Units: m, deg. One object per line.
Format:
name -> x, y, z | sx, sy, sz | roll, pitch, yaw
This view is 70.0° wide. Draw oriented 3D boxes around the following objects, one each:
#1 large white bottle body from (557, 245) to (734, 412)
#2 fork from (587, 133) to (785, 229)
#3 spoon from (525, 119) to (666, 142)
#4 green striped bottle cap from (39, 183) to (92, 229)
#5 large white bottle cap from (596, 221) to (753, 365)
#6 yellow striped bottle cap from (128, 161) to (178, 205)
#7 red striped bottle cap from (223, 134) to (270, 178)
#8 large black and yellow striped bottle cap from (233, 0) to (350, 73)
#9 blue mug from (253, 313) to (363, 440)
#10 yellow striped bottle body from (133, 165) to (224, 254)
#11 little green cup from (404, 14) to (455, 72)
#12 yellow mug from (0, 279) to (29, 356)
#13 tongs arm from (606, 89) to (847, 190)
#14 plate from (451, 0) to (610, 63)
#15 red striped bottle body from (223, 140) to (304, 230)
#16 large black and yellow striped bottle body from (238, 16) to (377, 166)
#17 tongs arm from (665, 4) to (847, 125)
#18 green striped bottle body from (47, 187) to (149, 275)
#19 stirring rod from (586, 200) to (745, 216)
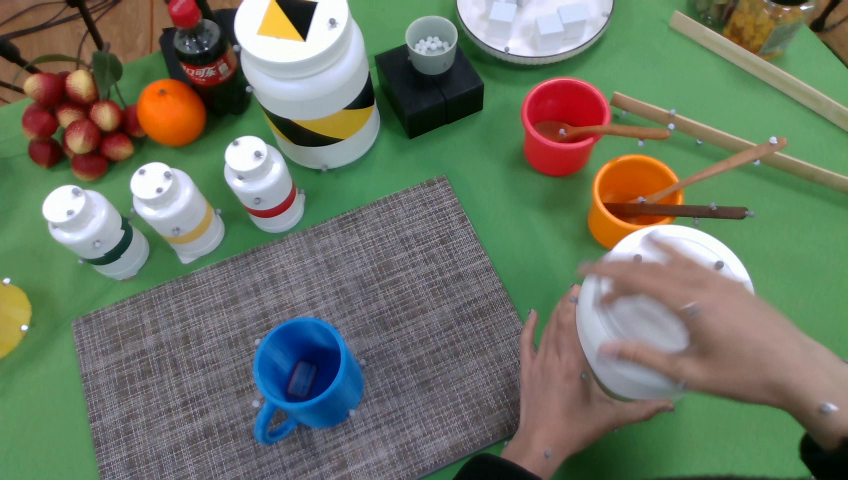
large white bottle body -> 0.197, 0.076, 0.547 | 0.130, 0.186, 0.129 | -1, 64, 3
fork -> 0.261, -0.058, 0.625 | 0.207, 0.019, 0.028 | -29, 55, 39
spoon -> 0.180, -0.121, 0.661 | 0.041, 0.192, 0.022 | -40, 114, -18
green striped bottle cap -> -0.356, -0.034, 0.603 | 0.044, 0.020, 0.044 | 0, 64, 1
large white bottle cap -> 0.193, 0.039, 0.468 | 0.115, 0.018, 0.114 | -1, 65, 2
yellow striped bottle cap -> -0.272, -0.058, 0.609 | 0.044, 0.019, 0.044 | 0, 60, 0
red striped bottle cap -> -0.181, -0.086, 0.618 | 0.044, 0.018, 0.044 | 0, 62, 0
large black and yellow striped bottle cap -> -0.132, -0.218, 0.604 | 0.115, 0.019, 0.114 | -2, 67, 5
blue mug -> -0.116, 0.138, 0.573 | 0.082, 0.106, 0.116 | 31, 71, 17
yellow striped bottle body -> -0.269, -0.036, 0.657 | 0.063, 0.121, 0.062 | -1, 64, 3
little green cup -> 0.007, -0.233, 0.723 | 0.061, 0.039, 0.061 | -1, 63, 2
yellow mug -> -0.487, 0.091, 0.639 | 0.100, 0.064, 0.129 | -13, 66, -3
tongs arm -> 0.404, -0.114, 0.706 | 0.383, 0.027, 0.050 | 26, 66, 13
plate -> 0.140, -0.316, 0.811 | 0.209, 0.038, 0.207 | -1, 66, 2
red striped bottle body -> -0.177, -0.063, 0.665 | 0.063, 0.120, 0.062 | -2, 65, 5
large black and yellow striped bottle body -> -0.129, -0.183, 0.682 | 0.131, 0.185, 0.129 | -1, 65, 3
tongs arm -> 0.456, -0.181, 0.737 | 0.385, 0.028, 0.028 | 42, 67, 19
green striped bottle body -> -0.352, -0.012, 0.650 | 0.063, 0.120, 0.062 | -1, 65, 2
stirring rod -> 0.239, -0.034, 0.621 | 0.014, 0.006, 0.175 | -49, 30, -22
